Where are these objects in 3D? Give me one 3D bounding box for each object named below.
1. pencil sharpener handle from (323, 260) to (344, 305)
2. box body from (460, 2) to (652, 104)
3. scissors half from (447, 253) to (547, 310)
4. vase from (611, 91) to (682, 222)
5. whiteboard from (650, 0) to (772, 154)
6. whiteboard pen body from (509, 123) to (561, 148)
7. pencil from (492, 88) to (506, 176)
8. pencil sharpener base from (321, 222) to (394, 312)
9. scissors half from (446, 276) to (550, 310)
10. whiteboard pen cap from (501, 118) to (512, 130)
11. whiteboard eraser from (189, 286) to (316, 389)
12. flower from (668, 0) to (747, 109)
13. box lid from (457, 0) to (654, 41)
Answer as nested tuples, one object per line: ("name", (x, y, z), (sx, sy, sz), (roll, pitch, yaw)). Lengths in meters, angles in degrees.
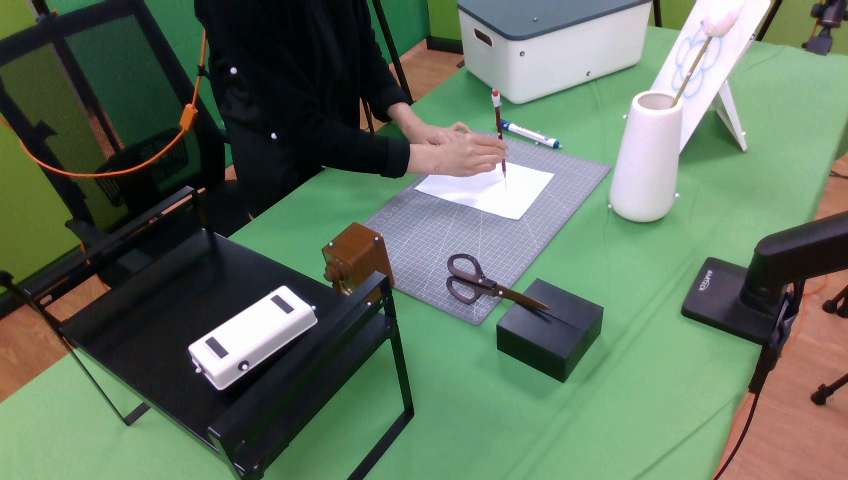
("pencil sharpener handle", (-0.131, 0.062, 0.839), (0.035, 0.068, 0.031), (29, 55, 28))
("box body", (0.291, -0.465, 1.371), (0.365, 0.161, 0.252), (-22, 42, -16))
("scissors half", (0.098, 0.058, 0.821), (0.173, 0.040, 0.013), (27, 33, 36))
("vase", (0.348, -0.125, 0.935), (0.098, 0.201, 0.097), (-3, 40, 3))
("whiteboard", (0.543, -0.298, 1.076), (0.144, 0.305, 0.216), (12, 40, -7))
("whiteboard pen body", (0.208, -0.211, 1.196), (0.139, 0.017, 0.017), (30, 52, 33))
("pencil", (0.130, -0.176, 1.025), (0.012, 0.195, 0.012), (-6, 50, 8))
("pencil sharpener base", (-0.096, 0.041, 0.873), (0.061, 0.107, 0.077), (25, 54, 32))
("scissors half", (0.098, 0.077, 0.827), (0.174, 0.040, 0.013), (6, 14, 44))
("whiteboard pen cap", (0.165, -0.235, 1.227), (0.033, 0.018, 0.018), (31, 53, 31))
("whiteboard eraser", (-0.166, 0.096, 0.593), (0.113, 0.042, 0.055), (-36, 47, -29))
("flower", (0.354, -0.187, 0.879), (0.038, 0.362, 0.044), (30, 48, 14))
("box lid", (0.285, -0.522, 1.323), (0.373, 0.015, 0.261), (-22, 43, -16))
